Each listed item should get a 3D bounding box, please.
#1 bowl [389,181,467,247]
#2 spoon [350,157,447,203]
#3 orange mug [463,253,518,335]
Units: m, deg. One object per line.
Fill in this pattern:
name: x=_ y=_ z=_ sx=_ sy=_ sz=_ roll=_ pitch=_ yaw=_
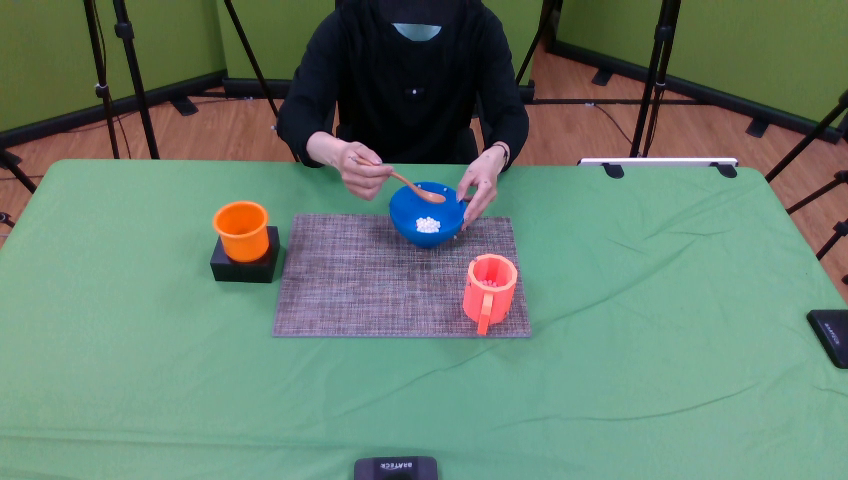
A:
bowl: x=0.006 y=-0.039 z=1.189 sx=0.151 sy=0.077 sz=0.150 roll=2 pitch=46 yaw=-2
spoon: x=-0.044 y=-0.108 z=1.081 sx=0.194 sy=0.021 sz=0.041 roll=26 pitch=20 yaw=-23
orange mug: x=0.113 y=0.098 z=1.050 sx=0.083 sy=0.101 sz=0.125 roll=10 pitch=42 yaw=6
